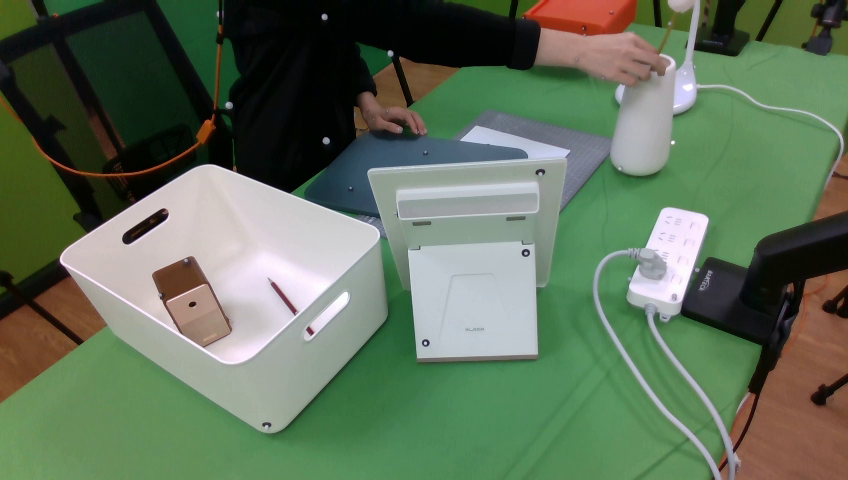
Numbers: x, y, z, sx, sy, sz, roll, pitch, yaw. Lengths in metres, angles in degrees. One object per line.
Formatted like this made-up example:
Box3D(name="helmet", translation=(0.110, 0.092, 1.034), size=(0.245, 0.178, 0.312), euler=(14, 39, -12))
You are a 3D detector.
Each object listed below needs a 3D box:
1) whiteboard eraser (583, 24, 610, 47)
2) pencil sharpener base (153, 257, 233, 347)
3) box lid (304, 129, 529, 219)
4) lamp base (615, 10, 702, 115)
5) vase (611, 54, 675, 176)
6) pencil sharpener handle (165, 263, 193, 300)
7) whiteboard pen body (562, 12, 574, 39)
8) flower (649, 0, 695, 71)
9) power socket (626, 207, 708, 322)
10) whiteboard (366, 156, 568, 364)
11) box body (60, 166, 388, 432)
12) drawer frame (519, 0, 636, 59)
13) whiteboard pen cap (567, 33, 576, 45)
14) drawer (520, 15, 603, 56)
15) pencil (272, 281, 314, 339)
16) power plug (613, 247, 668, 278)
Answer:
Box3D(name="whiteboard eraser", translation=(0.407, -0.479, 1.423), size=(0.055, 0.042, 0.113), euler=(-3, 9, 20))
Box3D(name="pencil sharpener base", translation=(-0.321, 0.088, 0.843), size=(0.061, 0.107, 0.076), euler=(-28, 44, -20))
Box3D(name="box lid", translation=(-0.010, -0.117, 1.122), size=(0.369, 0.015, 0.263), euler=(11, 44, 22))
Box3D(name="lamp base", translation=(0.484, -0.363, 1.211), size=(0.180, 0.181, 0.159), euler=(-15, 41, -14))
Box3D(name="vase", translation=(0.377, -0.209, 1.031), size=(0.098, 0.201, 0.097), euler=(-3, 40, 3))
Box3D(name="pencil sharpener handle", translation=(-0.353, 0.054, 0.867), size=(0.036, 0.068, 0.030), euler=(-18, 40, -28))
Box3D(name="whiteboard pen body", translation=(0.341, -0.506, 1.430), size=(0.017, 0.017, 0.140), euler=(-2, 42, 6))
Box3D(name="flower", translation=(0.358, -0.260, 0.958), size=(0.038, 0.363, 0.044), euler=(35, 60, 21))
Box3D(name="power socket", translation=(0.359, 0.026, 0.886), size=(0.072, 0.033, 0.227), euler=(16, 46, 26))
Box3D(name="whiteboard", translation=(0.059, 0.050, 0.738), size=(0.217, 0.307, 0.143), euler=(-2, 60, 6))
Box3D(name="box body", translation=(-0.256, 0.065, 0.827), size=(0.361, 0.161, 0.255), euler=(20, 48, 29))
Box3D(name="drawer frame", translation=(0.362, -0.518, 1.423), size=(0.200, 0.083, 0.214), euler=(19, 48, 29))
Box3D(name="whiteboard pen cap", translation=(0.339, -0.463, 1.390), size=(0.018, 0.018, 0.033), euler=(-2, 44, 6))
Box3D(name="drawer", translation=(0.359, -0.517, 1.416), size=(0.193, 0.073, 0.212), euler=(20, 47, 29))
Box3D(name="pencil", translation=(-0.187, 0.106, 0.880), size=(0.012, 0.012, 0.192), euler=(-27, 41, -22))
Box3D(name="power plug", translation=(0.306, 0.031, 0.851), size=(0.072, 0.053, 0.035), euler=(24, 49, 34))
